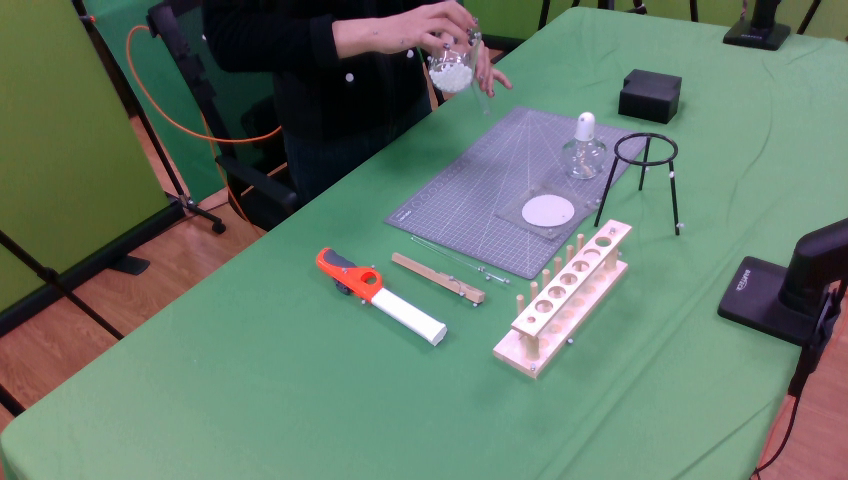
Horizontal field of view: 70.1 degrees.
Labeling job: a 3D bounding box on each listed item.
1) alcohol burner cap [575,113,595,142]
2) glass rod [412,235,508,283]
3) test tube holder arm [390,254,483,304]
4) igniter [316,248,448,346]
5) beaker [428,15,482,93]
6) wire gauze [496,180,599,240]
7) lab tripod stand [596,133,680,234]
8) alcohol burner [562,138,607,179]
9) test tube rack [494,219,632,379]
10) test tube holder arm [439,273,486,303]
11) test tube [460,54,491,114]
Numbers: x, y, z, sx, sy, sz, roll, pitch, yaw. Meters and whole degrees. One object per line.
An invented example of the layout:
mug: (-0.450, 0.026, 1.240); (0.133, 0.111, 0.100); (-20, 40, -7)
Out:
alcohol burner cap: (0.276, -0.193, 1.028); (0.034, 0.048, 0.033); (-2, 45, 3)
glass rod: (0.051, 0.028, 0.951); (0.198, 0.008, 0.008); (25, 52, 37)
test tube holder arm: (0.015, 0.056, 0.916); (0.177, 0.015, 0.013); (23, 15, 34)
igniter: (-0.074, 0.078, 0.902); (0.274, 0.025, 0.057); (28, 63, 36)
beaker: (0.048, -0.284, 0.938); (0.073, 0.084, 0.100); (-1, 56, 19)
wire gauze: (0.206, -0.050, 1.012); (0.125, 0.011, 0.120); (-34, 45, -26)
lab tripod stand: (0.338, -0.090, 0.940); (0.148, 0.132, 0.147); (-7, 39, 6)
alcohol burner: (0.280, -0.167, 1.052); (0.078, 0.119, 0.077); (-5, 38, 4)
test tube rack: (0.191, 0.068, 0.818); (0.066, 0.085, 0.243); (25, 51, 35)
test tube holder arm: (0.053, 0.070, 0.896); (0.087, 0.015, 0.010); (24, 15, 35)
test tube: (0.092, -0.268, 1.056); (0.017, 0.151, 0.017); (-9, 61, 18)
